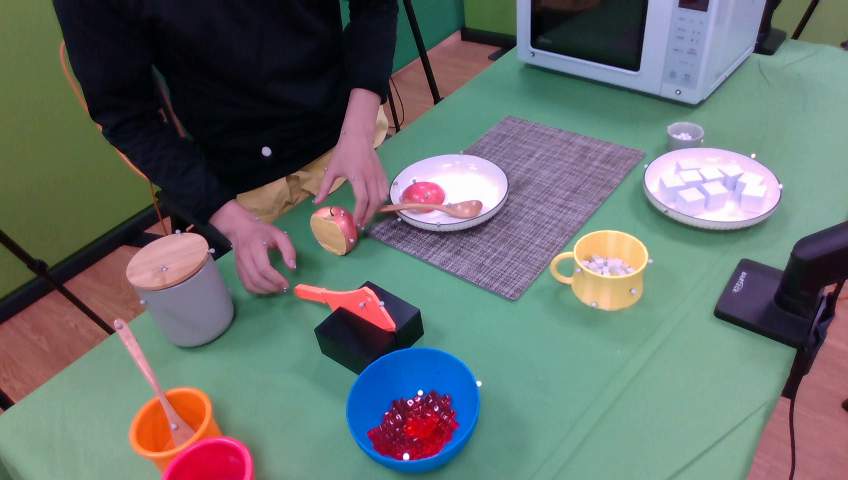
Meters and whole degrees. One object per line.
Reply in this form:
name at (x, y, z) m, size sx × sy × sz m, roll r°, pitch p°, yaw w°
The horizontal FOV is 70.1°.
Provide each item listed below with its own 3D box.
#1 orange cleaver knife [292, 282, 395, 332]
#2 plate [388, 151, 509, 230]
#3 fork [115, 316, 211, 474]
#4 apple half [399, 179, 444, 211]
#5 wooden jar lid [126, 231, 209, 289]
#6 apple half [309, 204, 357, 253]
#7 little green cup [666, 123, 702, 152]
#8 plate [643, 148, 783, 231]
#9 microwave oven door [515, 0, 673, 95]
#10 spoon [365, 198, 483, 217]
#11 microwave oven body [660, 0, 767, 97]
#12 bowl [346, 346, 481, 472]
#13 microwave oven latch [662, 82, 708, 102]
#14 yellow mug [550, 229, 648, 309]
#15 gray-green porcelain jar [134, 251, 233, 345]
orange cleaver knife at (-0.116, 0.091, 0.835) m, size 0.209 × 0.077 × 0.012 m, roll 2°, pitch 32°, yaw 48°
plate at (0.044, -0.082, 1.042) m, size 0.209 × 0.038 × 0.208 m, roll -4°, pitch 40°, yaw 4°
fork at (-0.308, 0.179, 0.708) m, size 0.028 × 0.018 × 0.207 m, roll -30°, pitch 89°, yaw -23°
apple half at (-0.003, -0.088, 1.046) m, size 0.081 × 0.033 × 0.081 m, roll -2°, pitch 42°, yaw 2°
wooden jar lid at (-0.340, 0.030, 0.808) m, size 0.108 × 0.021 × 0.108 m, roll -5°, pitch 39°, yaw 5°
apple half at (-0.140, -0.023, 0.978) m, size 0.080 × 0.075 × 0.053 m, roll 19°, pitch 44°, yaw 32°
little green cup at (0.472, -0.183, 1.102) m, size 0.061 × 0.039 × 0.061 m, roll -5°, pitch 41°, yaw 5°
plate at (0.464, -0.079, 0.986) m, size 0.207 × 0.039 × 0.206 m, roll -4°, pitch 40°, yaw 4°
microwave oven door at (0.344, -0.458, 1.256) m, size 0.353 × 0.245 × 0.039 m, roll 26°, pitch 51°, yaw 33°
spoon at (0.001, -0.056, 0.997) m, size 0.194 × 0.022 × 0.041 m, roll 1°, pitch 53°, yaw -9°
microwave oven body at (0.473, -0.517, 1.314) m, size 0.438 × 0.261 × 0.327 m, roll 26°, pitch 51°, yaw 34°
bowl at (-0.008, 0.205, 0.691) m, size 0.151 × 0.077 × 0.150 m, roll -4°, pitch 40°, yaw 4°
microwave oven latch at (0.517, -0.298, 1.203) m, size 0.078 × 0.029 × 0.030 m, roll 28°, pitch 53°, yaw 35°
yellow mug at (0.245, 0.040, 0.857) m, size 0.130 × 0.064 × 0.099 m, roll 1°, pitch 42°, yaw 11°
gray-green porcelain jar at (-0.334, 0.076, 0.849) m, size 0.106 × 0.127 × 0.105 m, roll -4°, pitch 41°, yaw 4°
